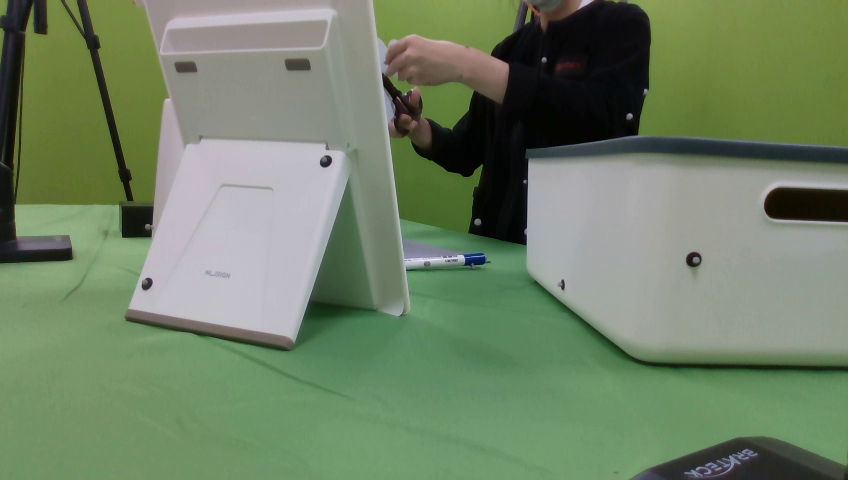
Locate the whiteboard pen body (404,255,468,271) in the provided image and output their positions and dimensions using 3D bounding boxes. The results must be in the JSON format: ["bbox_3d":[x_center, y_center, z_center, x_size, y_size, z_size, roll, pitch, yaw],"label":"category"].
[{"bbox_3d":[0.013,0.030,0.792,0.141,0.017,0.017,-3,9,-24],"label":"whiteboard pen body"}]

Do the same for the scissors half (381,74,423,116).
[{"bbox_3d":[-0.044,-0.263,1.063,0.013,0.040,0.176,18,0,29],"label":"scissors half"}]

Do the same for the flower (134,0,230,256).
[{"bbox_3d":[-0.282,-0.147,0.713,0.038,0.362,0.044,-23,24,-31],"label":"flower"}]

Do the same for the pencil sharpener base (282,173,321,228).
[{"bbox_3d":[-0.247,-0.080,1.212,0.061,0.107,0.076,-2,5,-28],"label":"pencil sharpener base"}]

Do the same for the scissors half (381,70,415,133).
[{"bbox_3d":[-0.054,-0.245,1.059,0.012,0.040,0.176,24,-19,30],"label":"scissors half"}]

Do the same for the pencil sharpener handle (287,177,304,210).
[{"bbox_3d":[-0.269,-0.096,1.257,0.036,0.067,0.030,-8,8,-27],"label":"pencil sharpener handle"}]

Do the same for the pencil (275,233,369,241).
[{"bbox_3d":[-0.169,-0.006,1.036,0.195,0.012,0.012,-2,9,-45],"label":"pencil"}]

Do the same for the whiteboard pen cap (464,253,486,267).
[{"bbox_3d":[0.066,0.027,0.818,0.033,0.018,0.018,-5,10,-24],"label":"whiteboard pen cap"}]

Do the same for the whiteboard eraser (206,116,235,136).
[{"bbox_3d":[-0.450,-0.252,1.335,0.056,0.042,0.112,1,7,-22],"label":"whiteboard eraser"}]

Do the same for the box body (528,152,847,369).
[{"bbox_3d":[0.257,-0.005,0.591,0.254,0.160,0.363,2,7,-4],"label":"box body"}]

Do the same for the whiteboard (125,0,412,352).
[{"bbox_3d":[-0.151,-0.049,0.472,0.216,0.305,0.144,6,27,24],"label":"whiteboard"}]

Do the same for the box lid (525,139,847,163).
[{"bbox_3d":[0.261,-0.078,0.580,0.264,0.015,0.371,2,7,-4],"label":"box lid"}]

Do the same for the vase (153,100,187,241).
[{"bbox_3d":[-0.278,-0.066,0.736,0.098,0.200,0.098,2,9,0],"label":"vase"}]
